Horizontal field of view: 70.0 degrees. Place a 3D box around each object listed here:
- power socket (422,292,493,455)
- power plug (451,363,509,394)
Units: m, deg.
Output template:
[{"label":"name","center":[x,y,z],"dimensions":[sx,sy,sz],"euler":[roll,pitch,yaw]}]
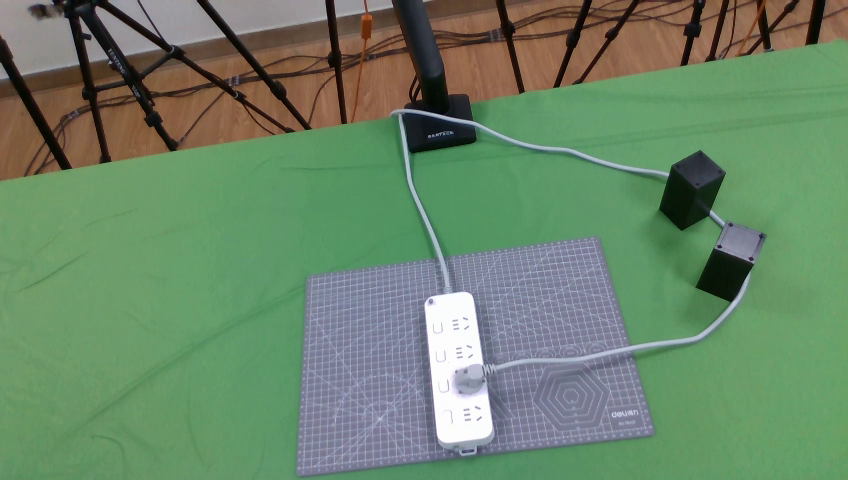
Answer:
[{"label":"power socket","center":[0.042,0.167,0.805],"dimensions":[0.072,0.033,0.224],"euler":[-8,55,3]},{"label":"power plug","center":[0.071,0.179,0.769],"dimensions":[0.072,0.053,0.035],"euler":[1,57,8]}]
